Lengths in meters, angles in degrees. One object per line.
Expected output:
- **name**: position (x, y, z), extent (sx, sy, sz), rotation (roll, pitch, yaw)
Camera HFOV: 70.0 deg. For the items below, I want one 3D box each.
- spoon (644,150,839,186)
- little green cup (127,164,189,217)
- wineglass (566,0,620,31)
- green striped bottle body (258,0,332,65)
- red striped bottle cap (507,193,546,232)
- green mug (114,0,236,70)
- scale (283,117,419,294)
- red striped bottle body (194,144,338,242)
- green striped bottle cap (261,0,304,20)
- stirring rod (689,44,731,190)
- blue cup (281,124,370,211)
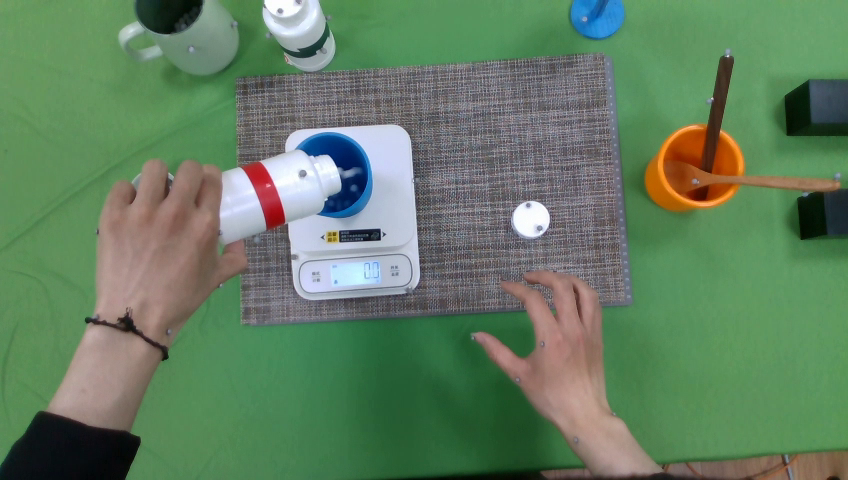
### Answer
- **spoon**: position (0.326, -0.073, 0.642), extent (0.022, 0.192, 0.041), rotation (9, 92, -40)
- **little green cup**: position (-0.311, -0.055, 0.714), extent (0.061, 0.039, 0.061), rotation (0, 84, 1)
- **wineglass**: position (0.201, -0.295, 0.653), extent (0.074, 0.172, 0.073), rotation (0, 84, 3)
- **green striped bottle body**: position (-0.146, -0.250, 0.687), extent (0.063, 0.119, 0.063), rotation (0, 84, 2)
- **red striped bottle cap**: position (0.120, -0.032, 0.706), extent (0.045, 0.018, 0.044), rotation (3, 78, -12)
- **green mug**: position (-0.291, -0.248, 0.699), extent (0.125, 0.105, 0.092), rotation (-26, 84, 0)
- **scale**: position (-0.086, -0.041, 0.706), extent (0.148, 0.031, 0.200), rotation (-4, 85, 2)
- **red striped bottle body**: position (-0.140, -0.048, 0.554), extent (0.120, 0.063, 0.063), rotation (-24, 84, -23)
- **green striped bottle cap**: position (-0.149, -0.256, 0.635), extent (0.044, 0.020, 0.044), rotation (0, 84, 2)
- **stirring rod**: position (0.304, -0.124, 0.647), extent (0.014, 0.178, 0.006), rotation (4, 44, 15)
- **blue cup**: position (-0.095, -0.068, 0.644), extent (0.092, 0.100, 0.092), rotation (0, 87, 0)
